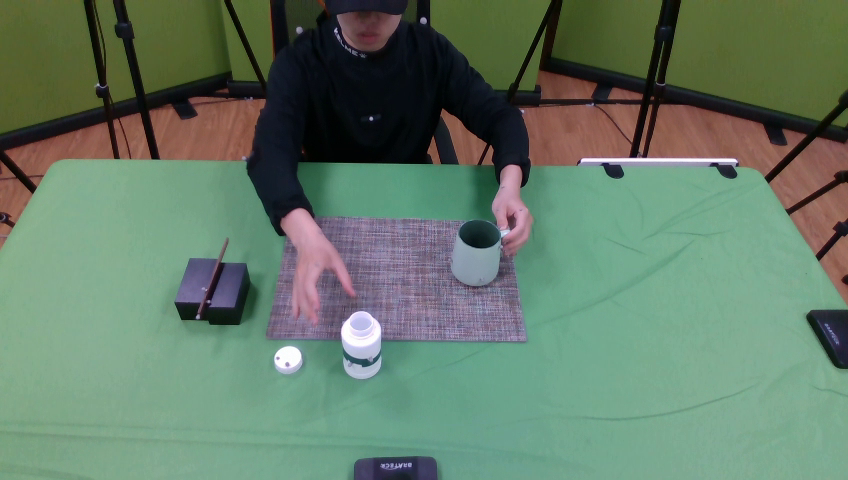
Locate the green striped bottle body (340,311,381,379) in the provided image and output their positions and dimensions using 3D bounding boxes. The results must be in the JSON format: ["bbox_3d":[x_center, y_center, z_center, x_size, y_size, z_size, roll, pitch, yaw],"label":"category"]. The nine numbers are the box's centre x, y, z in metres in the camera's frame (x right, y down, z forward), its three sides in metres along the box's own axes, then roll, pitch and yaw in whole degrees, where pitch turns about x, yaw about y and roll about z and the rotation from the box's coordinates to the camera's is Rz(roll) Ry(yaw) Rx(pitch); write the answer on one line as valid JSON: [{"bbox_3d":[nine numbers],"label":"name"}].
[{"bbox_3d":[-0.101,0.165,0.965,0.063,0.120,0.063,2,46,-2],"label":"green striped bottle body"}]

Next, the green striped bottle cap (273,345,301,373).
[{"bbox_3d":[-0.225,0.195,0.997,0.044,0.020,0.044,2,50,-2],"label":"green striped bottle cap"}]

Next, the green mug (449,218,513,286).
[{"bbox_3d":[0.110,0.018,1.126,0.125,0.105,0.092,-19,50,-21],"label":"green mug"}]

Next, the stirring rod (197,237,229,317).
[{"bbox_3d":[-0.363,0.060,1.047,0.006,0.014,0.175,7,46,-3],"label":"stirring rod"}]
